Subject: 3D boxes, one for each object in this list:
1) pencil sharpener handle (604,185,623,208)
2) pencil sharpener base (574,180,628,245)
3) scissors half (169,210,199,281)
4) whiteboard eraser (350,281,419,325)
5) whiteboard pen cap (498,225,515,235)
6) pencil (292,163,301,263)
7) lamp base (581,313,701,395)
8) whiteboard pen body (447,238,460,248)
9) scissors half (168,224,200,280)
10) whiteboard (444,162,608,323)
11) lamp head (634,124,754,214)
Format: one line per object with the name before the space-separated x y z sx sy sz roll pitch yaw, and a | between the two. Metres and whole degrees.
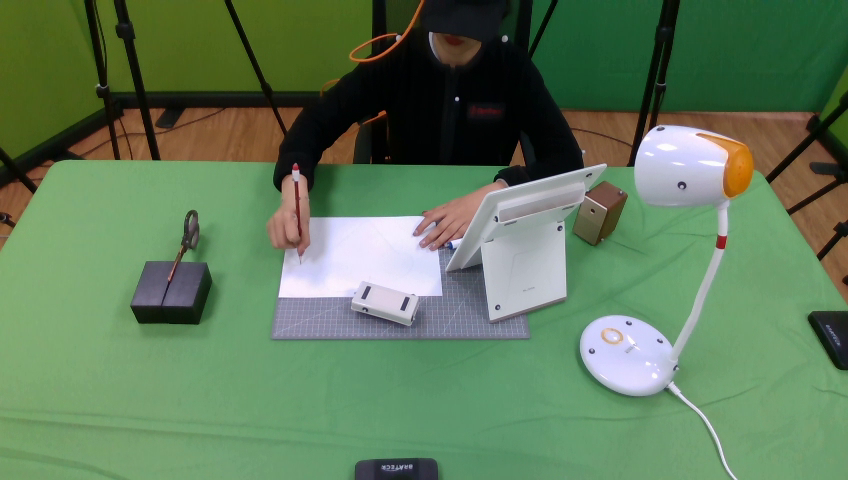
pencil sharpener handle | 0.390 -0.091 1.236 0.030 0.068 0.036 -33 70 -31
pencil sharpener base | 0.355 -0.056 1.217 0.076 0.107 0.061 -33 56 -31
scissors half | -0.438 0.007 1.098 0.013 0.040 0.174 3 47 -3
whiteboard eraser | -0.069 0.113 1.065 0.112 0.042 0.055 14 46 10
whiteboard pen cap | 0.166 -0.019 1.222 0.033 0.018 0.018 -14 49 -19
pencil | -0.232 -0.046 1.108 0.012 0.194 0.012 2 24 -1
lamp base | 0.361 0.144 0.973 0.178 0.181 0.160 34 53 23
whiteboard pen body | 0.112 -0.005 1.203 0.141 0.017 0.017 -13 49 -18
scissors half | -0.440 0.023 1.111 0.013 0.040 0.174 7 29 -6
whiteboard | 0.186 0.025 1.029 0.217 0.306 0.143 -14 68 -18
lamp head | 0.351 -0.089 0.776 0.112 0.113 0.122 -30 30 -28
